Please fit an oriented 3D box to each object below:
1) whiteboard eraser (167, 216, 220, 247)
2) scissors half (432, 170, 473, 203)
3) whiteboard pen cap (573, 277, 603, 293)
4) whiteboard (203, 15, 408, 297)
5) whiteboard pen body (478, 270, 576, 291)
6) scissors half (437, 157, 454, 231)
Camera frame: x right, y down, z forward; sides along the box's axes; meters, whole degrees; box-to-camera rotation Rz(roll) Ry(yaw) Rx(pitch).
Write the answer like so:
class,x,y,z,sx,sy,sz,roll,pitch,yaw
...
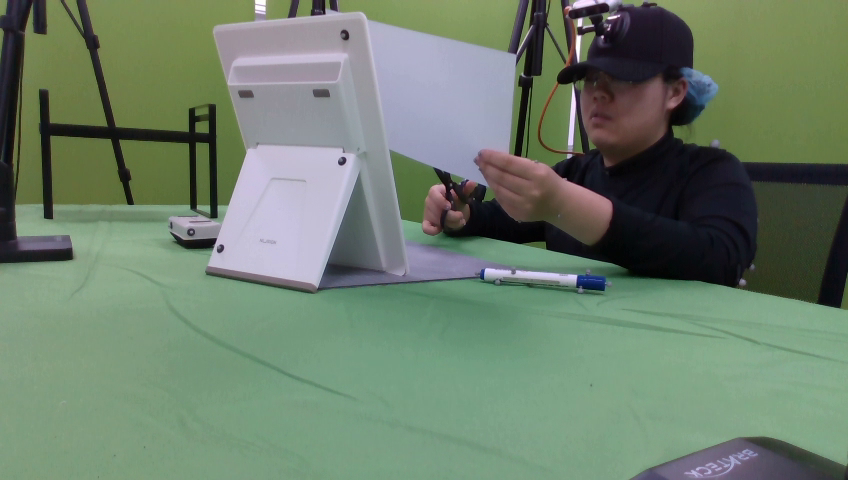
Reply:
class,x,y,z,sx,sy,sz,roll,pitch,yaw
whiteboard eraser,-0.350,-0.013,0.920,0.056,0.042,0.112,0,7,-35
scissors half,0.046,-0.090,0.970,0.012,0.040,0.176,31,7,23
whiteboard pen cap,0.186,0.051,0.687,0.033,0.018,0.018,4,8,18
whiteboard,-0.166,-0.072,0.668,0.216,0.305,0.144,8,30,30
whiteboard pen body,0.132,0.048,0.706,0.140,0.017,0.017,4,7,18
scissors half,0.033,-0.070,0.966,0.013,0.175,0.040,27,58,22
